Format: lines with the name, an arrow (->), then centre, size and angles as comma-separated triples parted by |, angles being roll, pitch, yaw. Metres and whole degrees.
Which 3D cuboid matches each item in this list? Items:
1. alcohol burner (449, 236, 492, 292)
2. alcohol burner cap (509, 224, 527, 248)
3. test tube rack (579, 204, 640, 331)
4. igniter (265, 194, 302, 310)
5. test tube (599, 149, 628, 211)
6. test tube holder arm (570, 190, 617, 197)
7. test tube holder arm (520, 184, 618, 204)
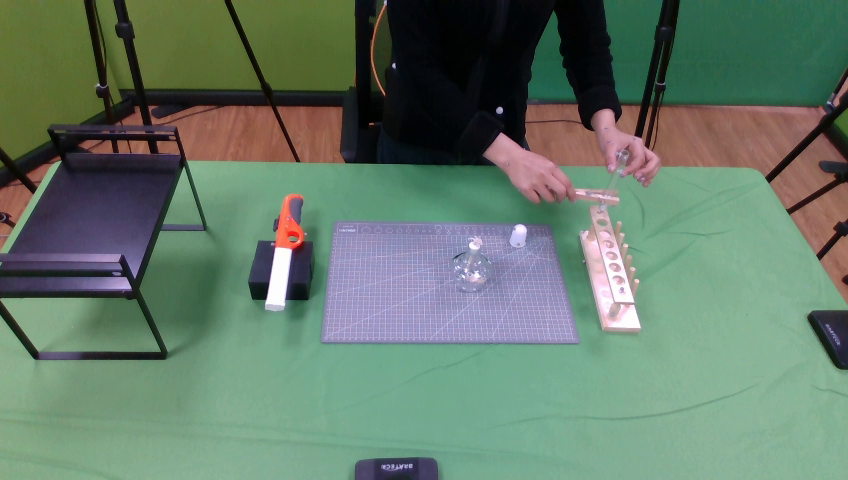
alcohol burner -> 0.086, 0.038, 1.101 | 0.078, 0.119, 0.077 | 2, 44, -2
alcohol burner cap -> 0.189, -0.011, 1.206 | 0.034, 0.048, 0.033 | 1, 46, -1
test tube rack -> 0.353, 0.047, 1.137 | 0.067, 0.085, 0.241 | 2, 46, -2
igniter -> -0.253, 0.011, 1.099 | 0.057, 0.025, 0.274 | 9, 46, -12
test tube -> 0.339, -0.104, 1.087 | 0.017, 0.151, 0.017 | 1, 52, -1
test tube holder arm -> 0.312, -0.085, 1.123 | 0.088, 0.015, 0.010 | 0, 43, -7
test tube holder arm -> 0.268, -0.085, 1.118 | 0.178, 0.015, 0.013 | 7, 42, 1
